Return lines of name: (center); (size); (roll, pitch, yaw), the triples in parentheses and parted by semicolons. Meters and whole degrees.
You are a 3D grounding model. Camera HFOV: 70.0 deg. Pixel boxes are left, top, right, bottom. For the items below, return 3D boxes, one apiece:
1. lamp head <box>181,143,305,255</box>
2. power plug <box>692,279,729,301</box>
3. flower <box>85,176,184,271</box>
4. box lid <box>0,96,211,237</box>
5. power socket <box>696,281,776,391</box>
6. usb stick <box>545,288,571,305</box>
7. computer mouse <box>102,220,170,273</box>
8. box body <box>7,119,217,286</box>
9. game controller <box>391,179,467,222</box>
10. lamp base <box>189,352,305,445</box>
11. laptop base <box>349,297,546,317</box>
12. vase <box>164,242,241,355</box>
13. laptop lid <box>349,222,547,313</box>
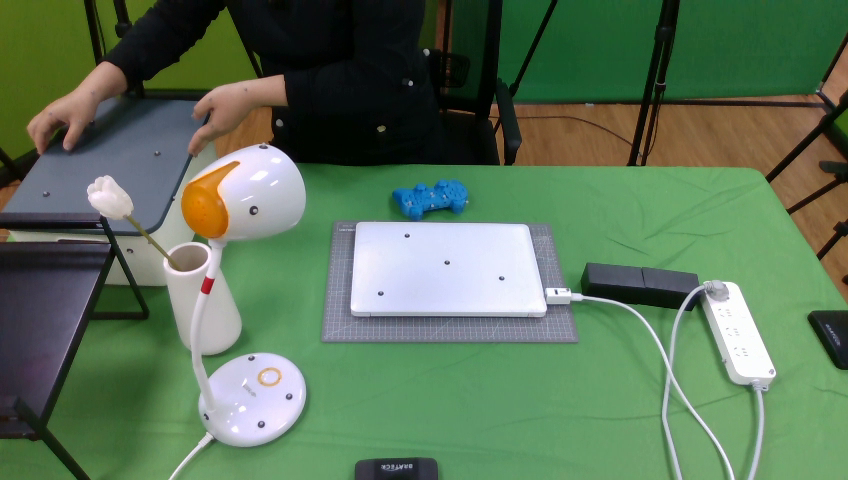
lamp head: (-0.216, -0.044, 0.697); (0.112, 0.113, 0.123); (23, 31, 17)
power plug: (0.522, 0.092, 1.115); (0.072, 0.053, 0.035); (8, 47, 7)
flower: (-0.365, 0.038, 0.894); (0.038, 0.364, 0.044); (-5, 53, 15)
box lid: (-0.556, -0.144, 1.089); (0.263, 0.015, 0.369); (3, 47, -2)
power socket: (0.550, 0.160, 1.078); (0.072, 0.033, 0.225); (2, 46, -2)
usb stick: (0.236, 0.102, 1.101); (0.059, 0.027, 0.021); (-2, 47, 2)
computer mouse: (-0.537, 0.009, 1.128); (0.062, 0.041, 0.117); (31, 58, 18)
box body: (-0.560, -0.092, 1.145); (0.254, 0.161, 0.361); (3, 46, -2)
game controller: (0.016, -0.093, 1.273); (0.155, 0.052, 0.096); (-11, 53, -14)
lamp base: (-0.268, 0.196, 0.876); (0.160, 0.181, 0.179); (26, 52, 20)
laptop base: (0.041, 0.055, 1.149); (0.355, 0.023, 0.234); (1, 42, -4)
vase: (-0.349, 0.096, 0.954); (0.098, 0.201, 0.097); (3, 47, -3)
laptop lid: (0.041, 0.046, 1.143); (0.357, 0.013, 0.240); (2, 44, -3)
